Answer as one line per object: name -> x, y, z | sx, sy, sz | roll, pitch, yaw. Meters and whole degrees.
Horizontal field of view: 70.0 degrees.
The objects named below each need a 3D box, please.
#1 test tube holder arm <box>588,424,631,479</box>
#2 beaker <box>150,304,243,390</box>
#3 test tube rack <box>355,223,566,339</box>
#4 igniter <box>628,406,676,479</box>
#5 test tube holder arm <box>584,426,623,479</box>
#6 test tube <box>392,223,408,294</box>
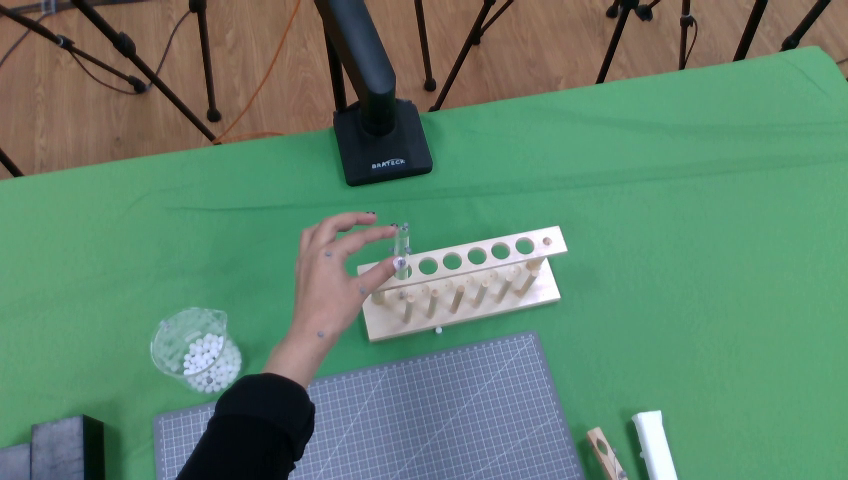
test tube holder arm -> 0.225, 0.275, 0.637 | 0.013, 0.015, 0.176 | -30, 55, -1
beaker -> -0.240, 0.119, 0.660 | 0.073, 0.101, 0.084 | 40, 68, 13
test tube rack -> 0.045, 0.050, 0.720 | 0.243, 0.086, 0.066 | -11, 67, -9
igniter -> 0.270, 0.318, 0.645 | 0.057, 0.025, 0.274 | -1, 65, -16
test tube holder arm -> 0.202, 0.245, 0.663 | 0.010, 0.015, 0.087 | -28, 55, 1
test tube -> -0.027, 0.025, 0.671 | 0.017, 0.151, 0.017 | 1, 61, -2
